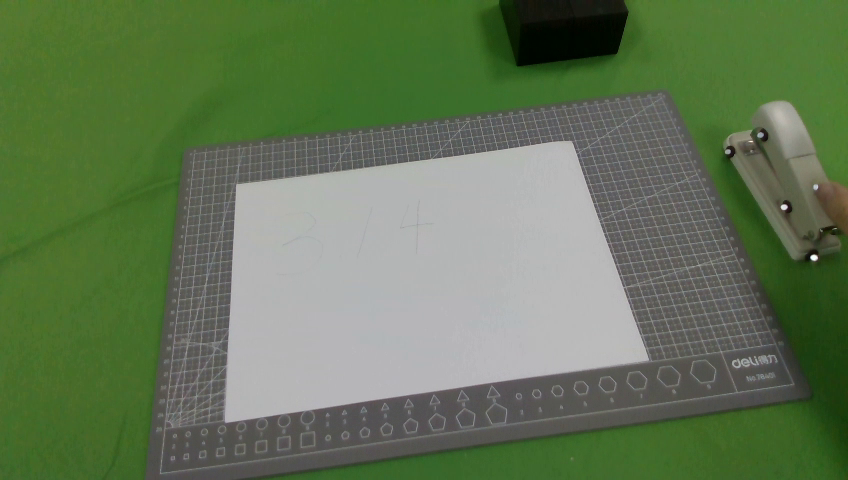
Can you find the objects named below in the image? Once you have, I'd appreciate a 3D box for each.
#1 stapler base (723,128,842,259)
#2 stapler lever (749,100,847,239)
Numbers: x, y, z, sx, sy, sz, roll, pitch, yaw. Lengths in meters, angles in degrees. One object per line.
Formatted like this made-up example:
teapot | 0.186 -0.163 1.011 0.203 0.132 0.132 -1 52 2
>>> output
stapler base | 0.292 -0.047 0.493 0.041 0.024 0.129 -13 59 -2
stapler lever | 0.291 -0.059 0.471 0.027 0.040 0.117 -13 60 -1
